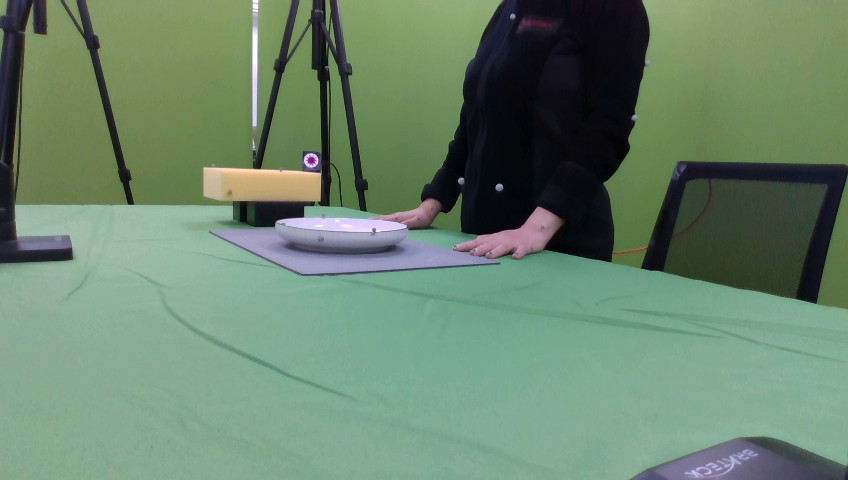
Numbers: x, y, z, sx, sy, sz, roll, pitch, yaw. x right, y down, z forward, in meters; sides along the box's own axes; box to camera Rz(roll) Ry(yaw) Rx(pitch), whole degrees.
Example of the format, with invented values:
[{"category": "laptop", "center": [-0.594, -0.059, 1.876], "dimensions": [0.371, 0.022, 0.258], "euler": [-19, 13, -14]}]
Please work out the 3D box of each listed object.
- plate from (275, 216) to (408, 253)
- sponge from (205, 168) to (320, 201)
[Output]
[{"category": "plate", "center": [-0.129, -0.009, 0.954], "dimensions": [0.209, 0.038, 0.209], "euler": [2, 7, 0]}, {"category": "sponge", "center": [-0.332, -0.114, 1.247], "dimensions": [0.208, 0.061, 0.117], "euler": [-3, 9, -37]}]
